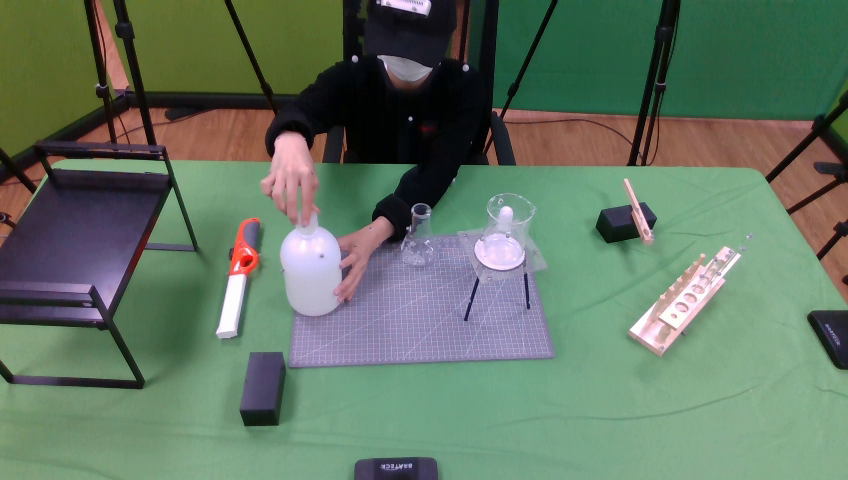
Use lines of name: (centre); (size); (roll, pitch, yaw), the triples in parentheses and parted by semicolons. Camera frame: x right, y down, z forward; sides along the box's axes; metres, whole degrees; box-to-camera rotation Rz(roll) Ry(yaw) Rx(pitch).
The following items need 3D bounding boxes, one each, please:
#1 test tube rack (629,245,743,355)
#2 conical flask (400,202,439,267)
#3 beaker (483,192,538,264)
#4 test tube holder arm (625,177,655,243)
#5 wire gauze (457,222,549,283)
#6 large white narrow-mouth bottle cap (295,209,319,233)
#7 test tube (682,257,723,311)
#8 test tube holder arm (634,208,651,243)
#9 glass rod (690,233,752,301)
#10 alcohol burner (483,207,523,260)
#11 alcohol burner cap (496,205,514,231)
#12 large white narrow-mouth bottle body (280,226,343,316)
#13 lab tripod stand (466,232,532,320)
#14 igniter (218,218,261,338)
test tube rack: (0.474, 0.095, 1.091); (0.242, 0.085, 0.066); (-34, 56, -31)
conical flask: (-0.007, -0.014, 1.135); (0.075, 0.122, 0.075); (2, 46, -1)
beaker: (0.136, -0.017, 0.980); (0.084, 0.101, 0.073); (-6, 45, -9)
test tube holder arm: (0.433, -0.063, 1.220); (0.013, 0.015, 0.177); (1, 47, -3)
wire gauze: (0.131, 0.016, 1.017); (0.121, 0.011, 0.124); (-10, 44, -16)
large white narrow-mouth bottle cap: (-0.185, -0.030, 0.955); (0.038, 0.024, 0.037); (2, 46, -2)
test tube: (0.474, 0.080, 1.037); (0.017, 0.151, 0.017); (1, 50, -1)
test tube holder arm: (0.428, -0.030, 1.189); (0.010, 0.015, 0.087); (1, 47, -2)
glass rod: (0.507, 0.053, 1.041); (0.008, 0.200, 0.008); (5, 50, -6)
alcohol burner: (0.152, -0.018, 1.156); (0.078, 0.120, 0.077); (0, 47, 0)
alcohol burner cap: (0.153, -0.044, 1.131); (0.034, 0.048, 0.033); (2, 40, -1)
large white narrow-mouth bottle body: (-0.191, 0.035, 1.024); (0.102, 0.195, 0.101); (2, 46, -2)
lab tripod stand: (0.125, 0.059, 1.065); (0.148, 0.132, 0.147); (1, 45, 0)
igniter: (-0.336, 0.060, 1.111); (0.057, 0.025, 0.274); (-8, 46, 4)
